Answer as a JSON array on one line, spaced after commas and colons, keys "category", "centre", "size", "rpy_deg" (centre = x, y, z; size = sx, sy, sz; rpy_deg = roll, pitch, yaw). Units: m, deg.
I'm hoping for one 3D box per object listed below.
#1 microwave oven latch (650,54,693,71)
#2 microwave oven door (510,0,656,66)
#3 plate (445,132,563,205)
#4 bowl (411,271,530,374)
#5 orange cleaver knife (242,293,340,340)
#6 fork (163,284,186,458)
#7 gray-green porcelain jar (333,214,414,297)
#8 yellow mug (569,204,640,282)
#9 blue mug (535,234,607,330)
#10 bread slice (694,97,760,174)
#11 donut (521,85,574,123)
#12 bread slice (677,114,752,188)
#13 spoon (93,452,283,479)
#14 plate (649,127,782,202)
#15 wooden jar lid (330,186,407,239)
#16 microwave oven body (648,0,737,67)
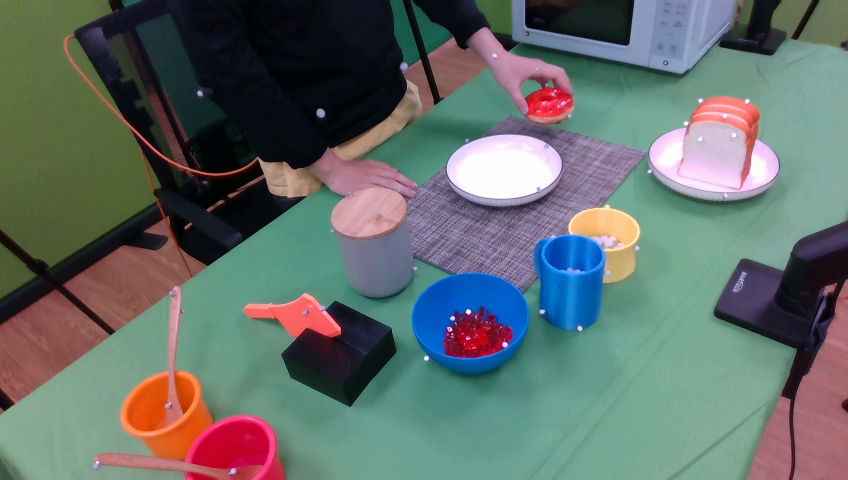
[{"category": "microwave oven latch", "centre": [0.531, -0.386, 1.301], "size": [0.078, 0.029, 0.030], "rpy_deg": [26, 51, 33]}, {"category": "microwave oven door", "centre": [0.350, -0.539, 1.348], "size": [0.353, 0.245, 0.039], "rpy_deg": [24, 50, 31]}, {"category": "plate", "centre": [0.142, -0.123, 1.076], "size": [0.209, 0.038, 0.208], "rpy_deg": [-4, 41, 4]}, {"category": "bowl", "centre": [0.061, 0.120, 0.780], "size": [0.151, 0.077, 0.150], "rpy_deg": [-4, 40, 4]}, {"category": "orange cleaver knife", "centre": [-0.186, 0.107, 0.827], "size": [0.210, 0.077, 0.012], "rpy_deg": [-9, 29, 48]}, {"category": "fork", "centre": [-0.302, 0.157, 0.733], "size": [0.028, 0.019, 0.207], "rpy_deg": [-3, 84, 15]}, {"category": "gray-green porcelain jar", "centre": [-0.071, 0.012, 0.887], "size": [0.106, 0.127, 0.105], "rpy_deg": [-4, 41, 4]}, {"category": "yellow mug", "centre": [0.268, -0.005, 0.904], "size": [0.099, 0.064, 0.130], "rpy_deg": [7, 41, 15]}, {"category": "blue mug", "centre": [0.190, 0.048, 0.824], "size": [0.082, 0.106, 0.115], "rpy_deg": [-26, 44, -20]}, {"category": "bread slice", "centre": [0.497, -0.173, 1.004], "size": [0.106, 0.135, 0.018], "rpy_deg": [23, 51, 26]}, {"category": "donut", "centre": [0.236, -0.261, 1.157], "size": [0.099, 0.048, 0.098], "rpy_deg": [-5, 41, 5]}, {"category": "bread slice", "centre": [0.467, -0.144, 0.976], "size": [0.104, 0.132, 0.019], "rpy_deg": [18, 55, 30]}, {"category": "spoon", "centre": [-0.240, 0.239, 0.632], "size": [0.195, 0.021, 0.041], "rpy_deg": [26, 34, -32]}, {"category": "plate", "centre": [0.493, -0.127, 1.036], "size": [0.207, 0.039, 0.206], "rpy_deg": [-4, 41, 4]}, {"category": "wooden jar lid", "centre": [-0.077, -0.035, 0.846], "size": [0.108, 0.021, 0.108], "rpy_deg": [-5, 41, 5]}, {"category": "microwave oven body", "centre": [0.475, -0.602, 1.411], "size": [0.438, 0.261, 0.327], "rpy_deg": [23, 50, 32]}]
